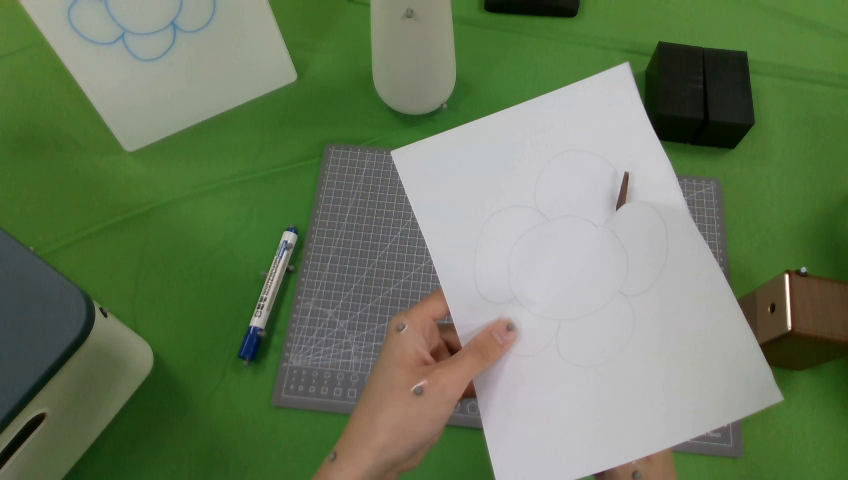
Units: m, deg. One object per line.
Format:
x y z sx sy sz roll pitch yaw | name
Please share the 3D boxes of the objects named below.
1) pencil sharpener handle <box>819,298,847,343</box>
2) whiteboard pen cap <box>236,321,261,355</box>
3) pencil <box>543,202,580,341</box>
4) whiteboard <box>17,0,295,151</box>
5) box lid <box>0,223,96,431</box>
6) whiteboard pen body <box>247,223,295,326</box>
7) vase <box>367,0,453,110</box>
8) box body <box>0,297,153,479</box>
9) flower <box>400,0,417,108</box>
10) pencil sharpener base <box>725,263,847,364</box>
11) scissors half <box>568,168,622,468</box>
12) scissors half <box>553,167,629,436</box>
0.393 0.077 0.552 0.030 0.068 0.035 10 62 1 | pencil sharpener handle
-0.173 0.097 0.602 0.018 0.018 0.033 12 63 6 | whiteboard pen cap
0.147 0.049 0.627 0.012 0.012 0.192 -7 69 -2 | pencil
-0.305 -0.291 0.645 0.217 0.308 0.142 -27 50 -10 | whiteboard
-0.468 0.055 0.464 0.370 0.015 0.262 31 70 12 | box lid
-0.161 0.045 0.626 0.017 0.017 0.140 12 66 6 | whiteboard pen body
-0.017 -0.229 0.643 0.098 0.201 0.097 -1 66 2 | vase
-0.465 0.086 0.532 0.362 0.161 0.253 31 71 12 | box body
-0.023 -0.274 0.572 0.044 0.365 0.038 -1 49 4 | flower
0.343 0.072 0.565 0.077 0.107 0.061 10 67 1 | pencil sharpener base
0.104 0.044 0.350 0.013 0.040 0.174 8 84 -7 | scissors half
0.103 0.041 0.372 0.013 0.040 0.176 9 109 -2 | scissors half
